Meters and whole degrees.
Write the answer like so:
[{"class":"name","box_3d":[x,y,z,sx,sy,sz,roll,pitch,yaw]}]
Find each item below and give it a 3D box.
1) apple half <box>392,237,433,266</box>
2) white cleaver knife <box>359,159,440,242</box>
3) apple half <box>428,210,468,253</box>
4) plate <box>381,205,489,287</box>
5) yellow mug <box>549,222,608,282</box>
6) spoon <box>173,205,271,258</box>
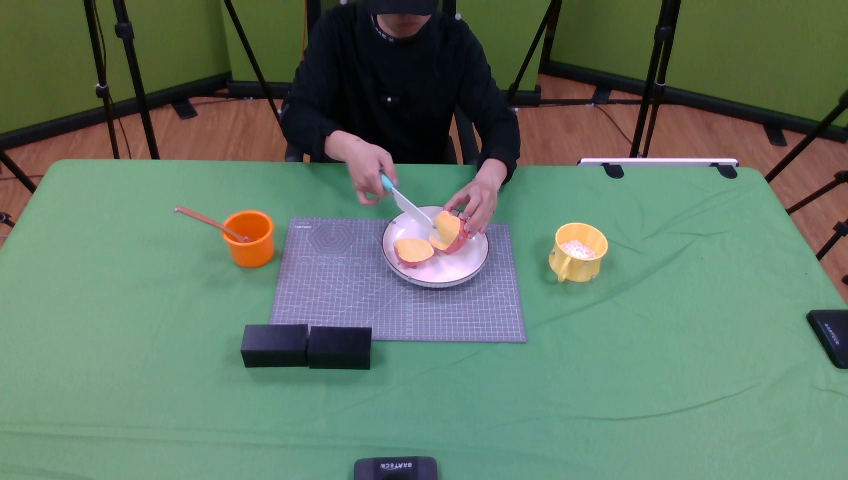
[{"class":"apple half","box_3d":[-0.023,0.028,1.147,0.081,0.033,0.081,8,33,-5]},{"class":"white cleaver knife","box_3d":[-0.053,-0.076,1.132,0.021,0.066,0.284,-31,42,-12]},{"class":"apple half","box_3d":[0.052,-0.013,1.166,0.053,0.074,0.080,21,3,-44]},{"class":"plate","box_3d":[0.021,0.015,1.170,0.209,0.038,0.208,2,46,-2]},{"class":"yellow mug","box_3d":[0.287,0.031,1.159,0.099,0.064,0.130,27,51,21]},{"class":"spoon","box_3d":[-0.362,-0.017,1.098,0.021,0.195,0.041,-32,42,27]}]
